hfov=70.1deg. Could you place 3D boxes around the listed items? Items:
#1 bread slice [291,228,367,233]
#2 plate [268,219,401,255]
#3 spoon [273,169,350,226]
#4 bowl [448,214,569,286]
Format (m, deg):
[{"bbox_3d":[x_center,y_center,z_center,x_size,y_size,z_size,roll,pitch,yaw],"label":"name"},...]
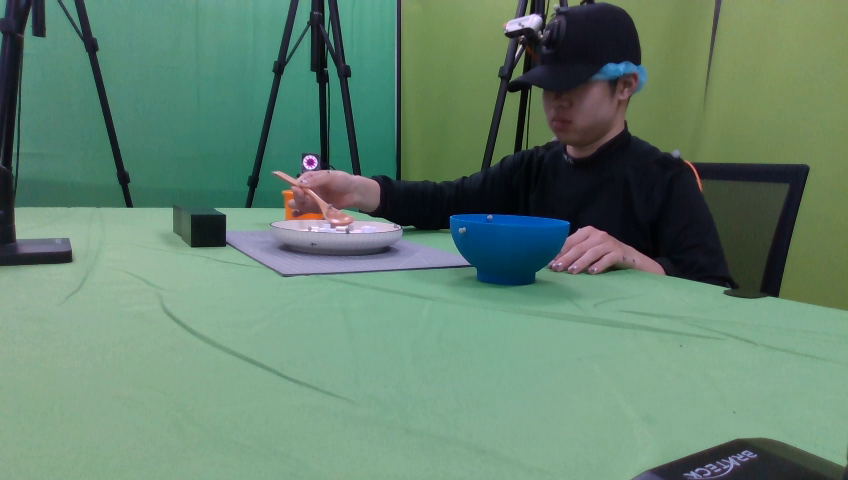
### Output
[{"bbox_3d":[-0.143,-0.003,0.953,0.135,0.018,0.106,-1,8,-37],"label":"bread slice"},{"bbox_3d":[-0.140,-0.006,0.958,0.209,0.038,0.209,3,7,0],"label":"plate"},{"bbox_3d":[-0.193,-0.075,1.020,0.193,0.021,0.042,40,41,27],"label":"spoon"},{"bbox_3d":[0.103,0.012,0.758,0.151,0.077,0.151,2,7,0],"label":"bowl"}]
